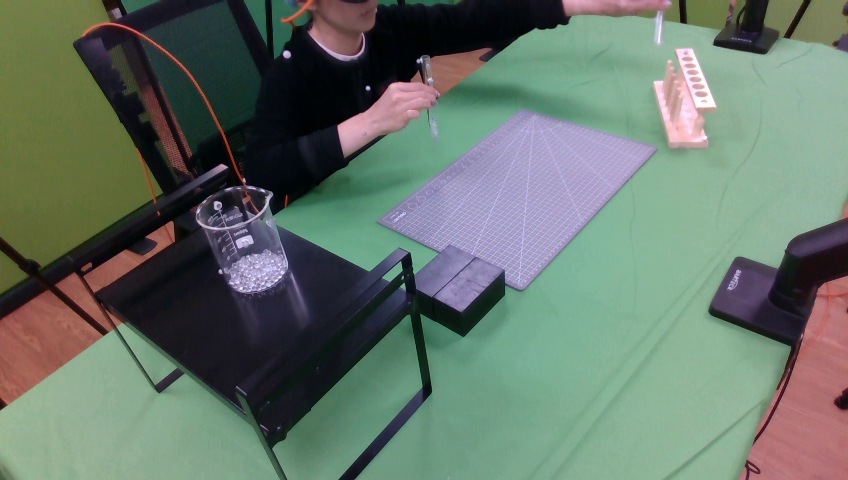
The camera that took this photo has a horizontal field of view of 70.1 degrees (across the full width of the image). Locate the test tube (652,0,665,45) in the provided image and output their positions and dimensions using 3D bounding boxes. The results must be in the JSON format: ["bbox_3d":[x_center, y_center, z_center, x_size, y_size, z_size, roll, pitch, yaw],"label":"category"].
[{"bbox_3d":[0.437,-0.436,1.118,0.017,0.150,0.017,5,1,0],"label":"test tube"}]

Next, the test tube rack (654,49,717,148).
[{"bbox_3d":[0.502,-0.281,1.176,0.066,0.085,0.241,2,41,11],"label":"test tube rack"}]

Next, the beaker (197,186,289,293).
[{"bbox_3d":[-0.192,0.001,0.666,0.084,0.101,0.073,-32,47,-27],"label":"beaker"}]

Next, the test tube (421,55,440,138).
[{"bbox_3d":[0.013,-0.244,1.044,0.017,0.151,0.017,-6,38,5],"label":"test tube"}]
